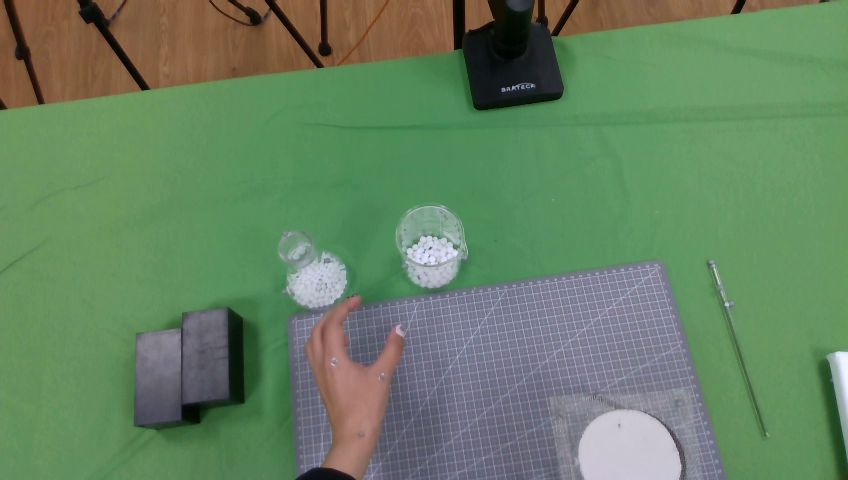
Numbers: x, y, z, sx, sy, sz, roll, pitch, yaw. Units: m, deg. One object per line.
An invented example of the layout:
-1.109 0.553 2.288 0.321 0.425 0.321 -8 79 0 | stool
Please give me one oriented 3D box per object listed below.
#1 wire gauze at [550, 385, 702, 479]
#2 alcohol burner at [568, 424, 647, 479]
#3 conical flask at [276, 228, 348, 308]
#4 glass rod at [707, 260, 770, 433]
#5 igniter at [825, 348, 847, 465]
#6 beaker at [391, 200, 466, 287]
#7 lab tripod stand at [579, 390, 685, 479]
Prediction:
0.177 0.190 0.522 0.125 0.011 0.120 -3 71 2 | wire gauze
0.183 0.219 0.594 0.078 0.120 0.077 -1 70 4 | alcohol burner
-0.130 0.026 0.673 0.075 0.122 0.075 0 69 2 | conical flask
0.354 0.115 0.684 0.008 0.008 0.198 -9 69 -2 | glass rod
0.454 0.249 0.623 0.057 0.025 0.274 6 70 -7 | igniter
0.008 0.010 0.687 0.083 0.101 0.074 26 73 10 | beaker
0.181 0.214 0.585 0.148 0.132 0.147 -1 71 2 | lab tripod stand
